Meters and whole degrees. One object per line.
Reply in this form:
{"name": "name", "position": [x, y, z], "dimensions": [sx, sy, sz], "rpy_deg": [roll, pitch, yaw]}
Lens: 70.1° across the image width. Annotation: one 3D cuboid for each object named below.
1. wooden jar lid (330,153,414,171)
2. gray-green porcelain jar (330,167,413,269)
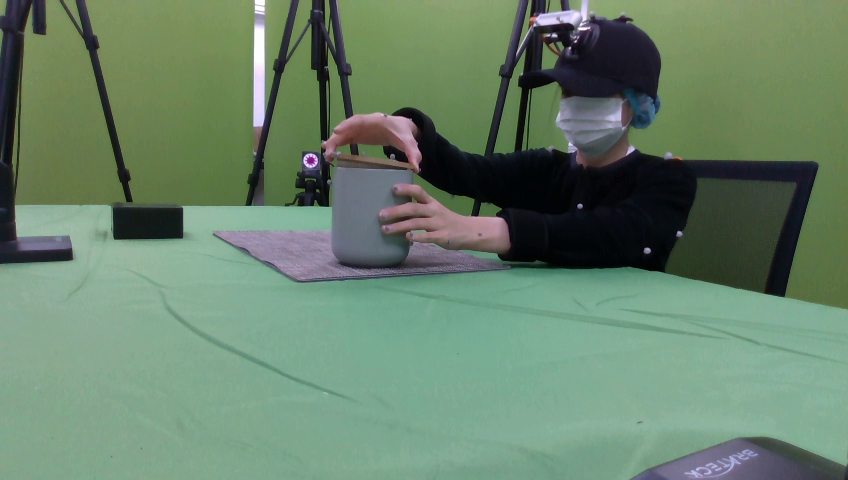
{"name": "wooden jar lid", "position": [-0.067, -0.096, 0.781], "dimensions": [0.108, 0.020, 0.108], "rpy_deg": [8, 7, -1]}
{"name": "gray-green porcelain jar", "position": [-0.069, -0.030, 0.791], "dimensions": [0.106, 0.126, 0.106], "rpy_deg": [3, 7, 0]}
